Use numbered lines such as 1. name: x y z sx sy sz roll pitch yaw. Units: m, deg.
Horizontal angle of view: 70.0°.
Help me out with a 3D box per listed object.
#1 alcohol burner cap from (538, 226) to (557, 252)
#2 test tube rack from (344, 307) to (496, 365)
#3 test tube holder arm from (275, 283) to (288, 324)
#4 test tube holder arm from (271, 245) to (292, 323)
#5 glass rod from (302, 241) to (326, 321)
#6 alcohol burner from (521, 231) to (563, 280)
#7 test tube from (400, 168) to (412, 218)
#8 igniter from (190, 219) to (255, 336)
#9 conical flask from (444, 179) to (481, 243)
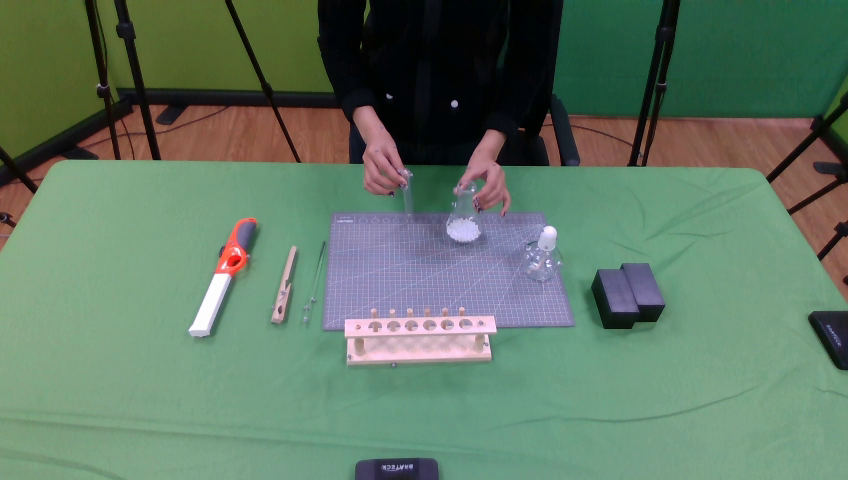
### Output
1. alcohol burner cap: 0.226 -0.004 1.104 0.034 0.048 0.033 -1 50 1
2. test tube rack: -0.009 0.154 1.007 0.242 0.085 0.066 -1 46 -5
3. test tube holder arm: -0.254 0.110 1.077 0.010 0.015 0.087 29 38 -27
4. test tube holder arm: -0.259 0.076 1.106 0.013 0.015 0.177 28 38 -28
5. glass rod: -0.203 0.071 1.124 0.008 0.008 0.198 4 44 1
6. alcohol burner: 0.224 0.020 1.131 0.078 0.119 0.077 4 46 -4
7. test tube: -0.033 -0.087 1.162 0.017 0.151 0.017 -1 59 2
8. igniter: -0.365 0.058 1.110 0.057 0.025 0.275 -1 45 8
9. conical flask: 0.077 -0.059 1.166 0.075 0.122 0.075 0 44 0
